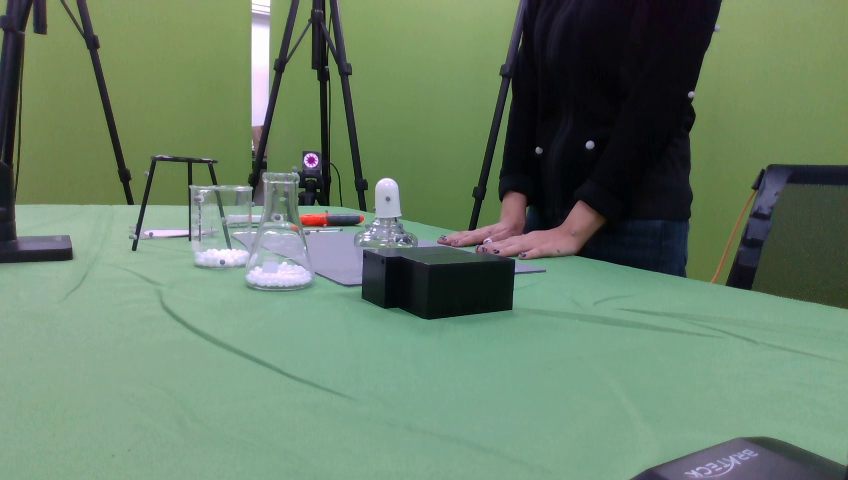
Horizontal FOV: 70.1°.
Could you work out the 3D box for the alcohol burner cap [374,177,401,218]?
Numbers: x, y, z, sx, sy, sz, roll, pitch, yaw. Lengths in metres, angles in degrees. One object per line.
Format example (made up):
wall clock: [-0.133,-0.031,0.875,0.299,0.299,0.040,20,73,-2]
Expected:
alcohol burner cap: [-0.044,-0.049,0.704,0.034,0.048,0.034,-4,9,1]

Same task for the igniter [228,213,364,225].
igniter: [-0.252,-0.043,1.227,0.278,0.025,0.057,-2,-2,-32]

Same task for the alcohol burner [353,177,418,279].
alcohol burner: [-0.044,-0.014,0.710,0.078,0.119,0.078,4,9,0]

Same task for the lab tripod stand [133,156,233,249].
lab tripod stand: [-0.342,-0.054,0.878,0.148,0.131,0.148,4,6,0]

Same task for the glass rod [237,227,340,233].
glass rod: [-0.247,-0.020,1.124,0.201,0.008,0.008,-2,8,-34]

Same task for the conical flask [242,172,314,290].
conical flask: [-0.154,-0.011,0.643,0.075,0.122,0.075,2,7,0]

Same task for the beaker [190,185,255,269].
beaker: [-0.253,-0.018,0.754,0.083,0.100,0.074,6,8,32]

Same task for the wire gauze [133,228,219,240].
wire gauze: [-0.421,-0.014,1.024,0.122,0.011,0.124,-2,7,-34]
